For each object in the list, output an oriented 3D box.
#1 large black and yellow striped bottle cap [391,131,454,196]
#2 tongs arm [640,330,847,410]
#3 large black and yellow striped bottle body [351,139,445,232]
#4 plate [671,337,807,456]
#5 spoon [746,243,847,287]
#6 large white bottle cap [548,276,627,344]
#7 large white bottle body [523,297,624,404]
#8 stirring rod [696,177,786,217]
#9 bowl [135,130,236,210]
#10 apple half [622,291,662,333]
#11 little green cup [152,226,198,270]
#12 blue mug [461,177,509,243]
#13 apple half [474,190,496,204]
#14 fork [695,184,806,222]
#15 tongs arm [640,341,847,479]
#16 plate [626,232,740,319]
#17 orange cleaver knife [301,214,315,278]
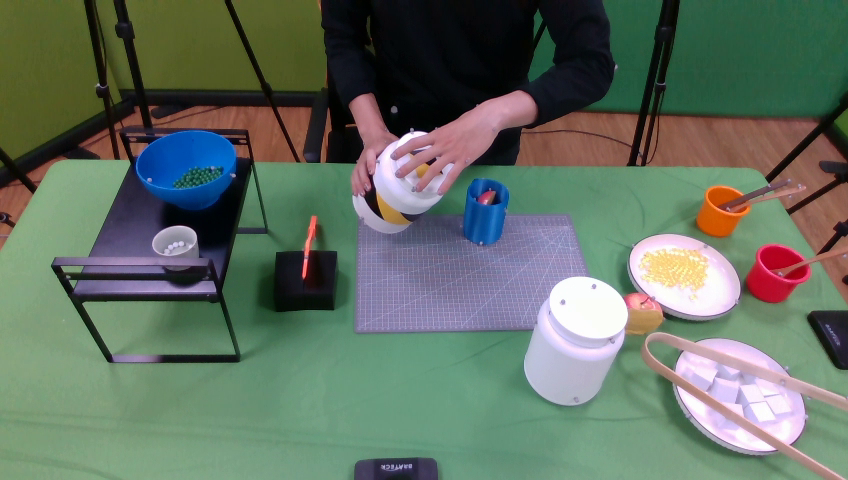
[{"bbox_3d":[-0.001,-0.131,1.024,0.115,0.019,0.114,10,67,-25],"label":"large black and yellow striped bottle cap"},{"bbox_3d":[0.543,0.225,0.969,0.384,0.026,0.050,22,52,13],"label":"tongs arm"},{"bbox_3d":[-0.041,-0.103,1.093,0.131,0.184,0.130,12,65,-26],"label":"large black and yellow striped bottle body"},{"bbox_3d":[0.504,0.254,0.984,0.208,0.039,0.206,2,46,-2],"label":"plate"},{"bbox_3d":[0.702,0.043,1.126,0.194,0.022,0.041,-29,38,30],"label":"spoon"},{"bbox_3d":[0.240,0.100,0.890,0.115,0.018,0.114,3,47,-3],"label":"large white bottle cap"},{"bbox_3d":[0.235,0.159,0.952,0.131,0.185,0.130,2,47,-2],"label":"large white bottle body"},{"bbox_3d":[0.648,-0.087,1.244,0.176,0.006,0.014,-25,50,29],"label":"stirring rod"},{"bbox_3d":[-0.375,-0.102,0.977,0.151,0.077,0.150,2,46,-2],"label":"bowl"},{"bbox_3d":[0.372,0.124,1.073,0.081,0.075,0.053,0,42,1],"label":"apple half"},{"bbox_3d":[-0.364,0.013,0.894,0.061,0.039,0.061,3,47,-3],"label":"little green cup"},{"bbox_3d":[0.114,-0.069,1.211,0.082,0.106,0.115,-12,48,-15],"label":"blue mug"},{"bbox_3d":[0.109,-0.067,1.200,0.032,0.081,0.081,29,51,13],"label":"apple half"},{"bbox_3d":[0.658,-0.074,1.229,0.207,0.019,0.028,-24,34,36],"label":"fork"},{"bbox_3d":[0.500,0.277,0.919,0.386,0.028,0.028,34,59,22],"label":"tongs arm"},{"bbox_3d":[0.488,0.071,1.157,0.209,0.038,0.208,3,46,-3],"label":"plate"},{"bbox_3d":[-0.217,0.007,1.131,0.012,0.077,0.210,7,19,-9],"label":"orange cleaver knife"}]
